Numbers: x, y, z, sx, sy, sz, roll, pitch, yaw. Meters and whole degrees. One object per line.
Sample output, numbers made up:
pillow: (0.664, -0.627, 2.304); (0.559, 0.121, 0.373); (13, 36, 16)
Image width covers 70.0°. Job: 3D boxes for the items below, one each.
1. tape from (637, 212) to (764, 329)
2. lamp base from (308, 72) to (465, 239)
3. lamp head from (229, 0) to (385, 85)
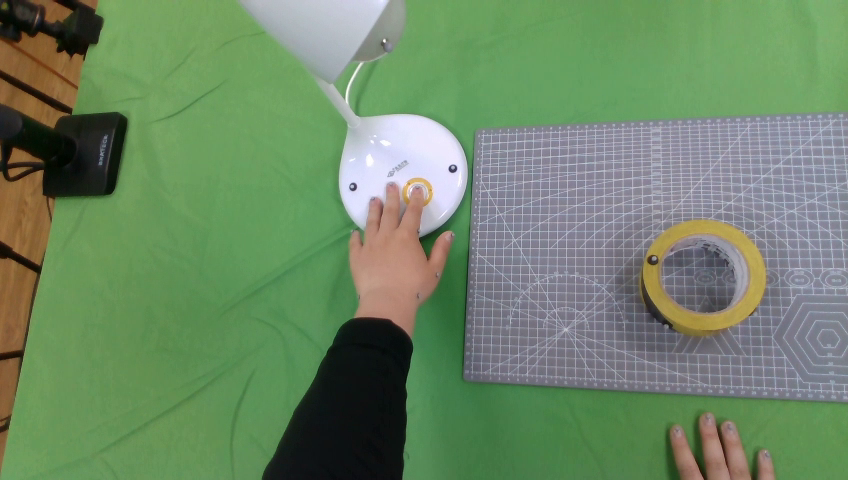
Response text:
tape: (0.274, 0.031, 0.609); (0.116, 0.053, 0.116); (-3, 75, 13)
lamp base: (-0.058, -0.105, 0.662); (0.178, 0.181, 0.160); (40, 88, 23)
lamp head: (-0.081, -0.174, 0.372); (0.123, 0.112, 0.112); (29, 84, -15)
